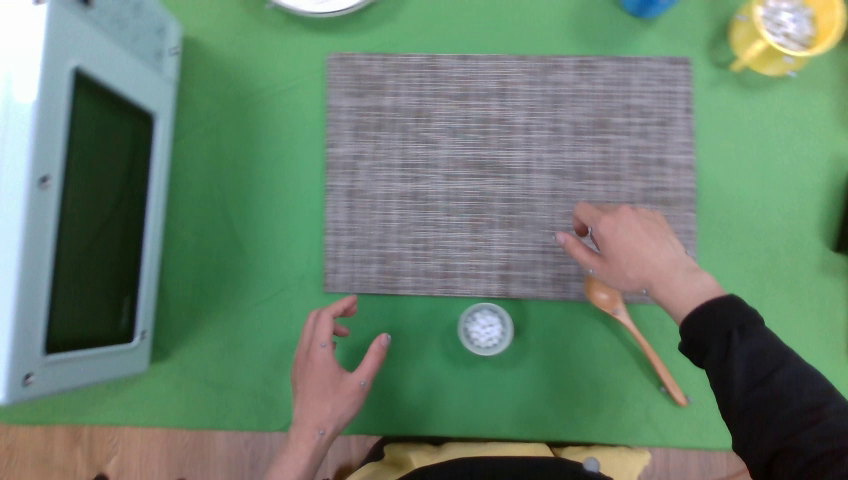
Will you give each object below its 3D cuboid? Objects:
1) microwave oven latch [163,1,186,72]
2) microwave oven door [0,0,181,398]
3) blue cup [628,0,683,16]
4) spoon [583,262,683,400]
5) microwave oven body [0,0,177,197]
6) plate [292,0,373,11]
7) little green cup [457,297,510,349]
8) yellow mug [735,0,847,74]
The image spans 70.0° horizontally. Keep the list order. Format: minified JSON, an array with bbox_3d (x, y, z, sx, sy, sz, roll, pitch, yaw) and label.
[{"bbox_3d":[-0.308,-0.246,0.733,0.030,0.029,0.079,7,87,2],"label":"microwave oven latch"},{"bbox_3d":[-0.335,-0.036,0.619,0.039,0.244,0.355,5,86,3],"label":"microwave oven door"},{"bbox_3d":[0.280,-0.309,0.704,0.092,0.100,0.092,0,87,2],"label":"blue cup"},{"bbox_3d":[0.248,0.109,0.715,0.041,0.021,0.193,-34,87,-16],"label":"spoon"},{"bbox_3d":[-0.476,-0.091,0.632,0.326,0.260,0.441,5,87,2],"label":"microwave oven body"},{"bbox_3d":[-0.111,-0.382,0.753,0.207,0.039,0.207,0,86,2],"label":"plate"},{"bbox_3d":[0.069,0.098,0.716,0.061,0.039,0.061,0,84,2],"label":"little green cup"},{"bbox_3d":[0.421,-0.245,0.712,0.131,0.064,0.100,-40,86,0],"label":"yellow mug"}]
